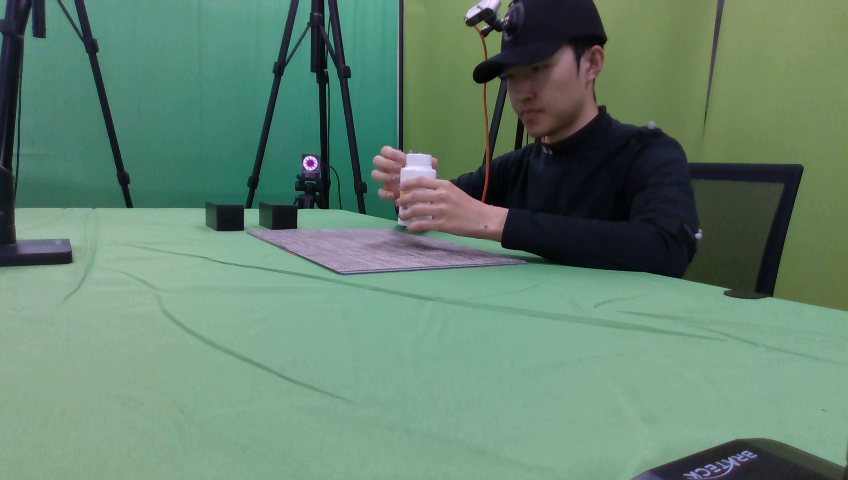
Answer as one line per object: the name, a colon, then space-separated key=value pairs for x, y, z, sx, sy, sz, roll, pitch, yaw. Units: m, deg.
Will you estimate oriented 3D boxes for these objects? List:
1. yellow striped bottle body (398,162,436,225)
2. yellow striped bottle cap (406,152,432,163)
yellow striped bottle body: x=-0.011 y=-0.087 z=1.027 sx=0.063 sy=0.120 sz=0.063 roll=3 pitch=2 yaw=0
yellow striped bottle cap: x=-0.009 y=-0.139 z=1.023 sx=0.044 sy=0.018 sz=0.044 roll=0 pitch=6 yaw=0
